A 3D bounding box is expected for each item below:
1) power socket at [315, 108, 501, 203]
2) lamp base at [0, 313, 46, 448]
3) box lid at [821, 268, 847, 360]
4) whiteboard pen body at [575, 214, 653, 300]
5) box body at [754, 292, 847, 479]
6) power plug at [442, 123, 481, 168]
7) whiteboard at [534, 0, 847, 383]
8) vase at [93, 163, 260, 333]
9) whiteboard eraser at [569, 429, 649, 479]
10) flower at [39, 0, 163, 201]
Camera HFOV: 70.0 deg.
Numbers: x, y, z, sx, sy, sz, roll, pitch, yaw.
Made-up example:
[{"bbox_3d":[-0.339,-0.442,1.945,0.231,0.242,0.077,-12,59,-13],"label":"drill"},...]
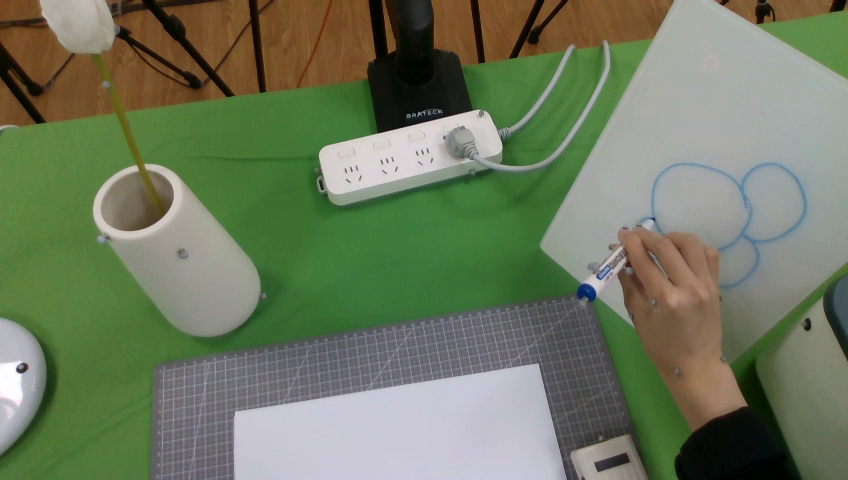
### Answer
[{"bbox_3d":[-0.017,-0.100,0.706,0.227,0.033,0.071,-14,64,-7],"label":"power socket"},{"bbox_3d":[-0.463,0.103,0.520,0.178,0.182,0.160,20,64,14],"label":"lamp base"},{"bbox_3d":[0.464,0.164,0.408,0.263,0.015,0.368,-10,64,-5],"label":"box lid"},{"bbox_3d":[0.164,0.009,0.506,0.017,0.017,0.140,37,47,19],"label":"whiteboard pen body"},{"bbox_3d":[0.465,0.201,0.473,0.254,0.161,0.360,-10,63,-5],"label":"box body"},{"bbox_3d":[0.040,-0.099,0.679,0.035,0.053,0.072,-5,64,-2],"label":"power plug"},{"bbox_3d":[0.277,-0.052,0.560,0.144,0.307,0.215,-31,64,-35],"label":"whiteboard"},{"bbox_3d":[-0.221,0.013,0.555,0.098,0.201,0.097,-1,62,2],"label":"vase"},{"bbox_3d":[0.172,0.227,0.526,0.056,0.042,0.111,-14,63,-8],"label":"whiteboard eraser"},{"bbox_3d":[-0.218,-0.042,0.491,0.038,0.365,0.043,-20,46,-17],"label":"flower"}]
